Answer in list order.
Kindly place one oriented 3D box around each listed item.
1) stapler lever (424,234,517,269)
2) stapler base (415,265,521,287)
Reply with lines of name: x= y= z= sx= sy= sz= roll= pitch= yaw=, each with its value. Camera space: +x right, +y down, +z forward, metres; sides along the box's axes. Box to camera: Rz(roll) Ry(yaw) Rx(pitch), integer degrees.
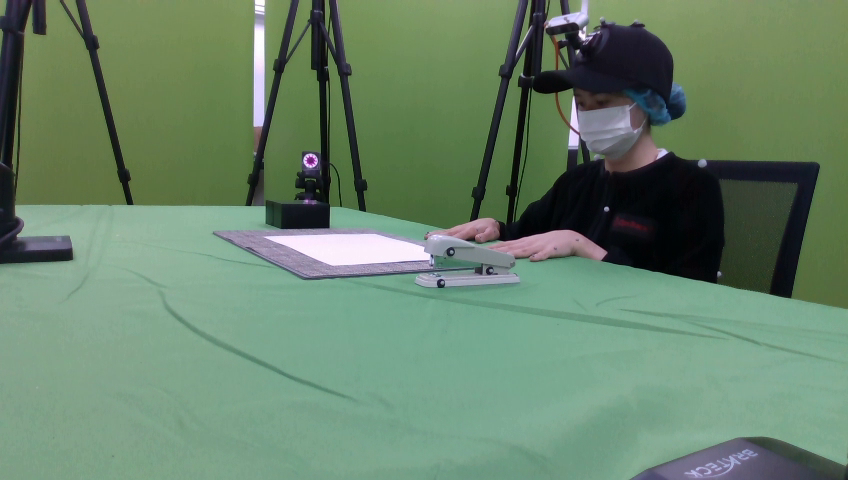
stapler lever: x=0.056 y=0.014 z=0.714 sx=0.119 sy=0.040 sz=0.026 roll=1 pitch=9 yaw=-27
stapler base: x=0.053 y=0.039 z=0.716 sx=0.131 sy=0.024 sz=0.041 roll=1 pitch=9 yaw=-27
